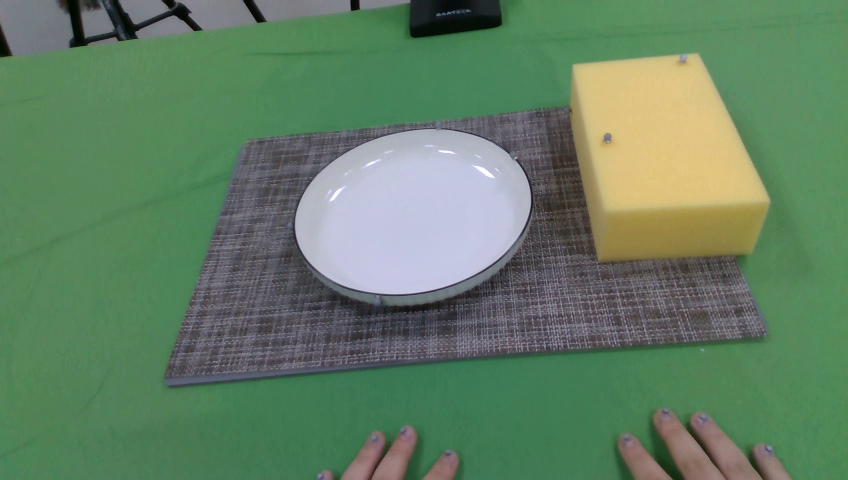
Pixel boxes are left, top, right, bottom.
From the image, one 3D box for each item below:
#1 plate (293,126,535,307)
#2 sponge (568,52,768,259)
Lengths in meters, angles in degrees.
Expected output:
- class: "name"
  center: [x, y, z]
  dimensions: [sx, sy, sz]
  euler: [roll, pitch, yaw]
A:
- class: "plate"
  center: [-0.008, -0.021, 0.529]
  dimensions: [0.207, 0.039, 0.205]
  euler: [-5, 47, 6]
- class: "sponge"
  center: [0.198, -0.081, 0.530]
  dimensions: [0.118, 0.061, 0.205]
  euler: [-4, 47, 7]
